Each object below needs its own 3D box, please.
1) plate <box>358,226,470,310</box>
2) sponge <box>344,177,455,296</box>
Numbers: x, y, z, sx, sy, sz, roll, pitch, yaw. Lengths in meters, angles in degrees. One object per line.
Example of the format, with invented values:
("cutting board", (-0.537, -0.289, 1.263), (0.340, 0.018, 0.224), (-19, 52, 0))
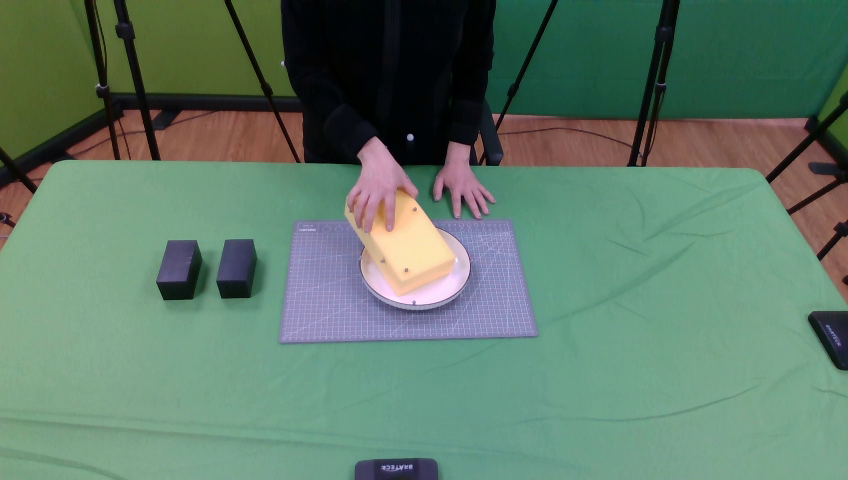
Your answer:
("plate", (-0.019, 0.052, 1.132), (0.209, 0.038, 0.208), (2, 46, -2))
("sponge", (-0.050, -0.010, 1.133), (0.118, 0.061, 0.206), (-25, 65, -24))
